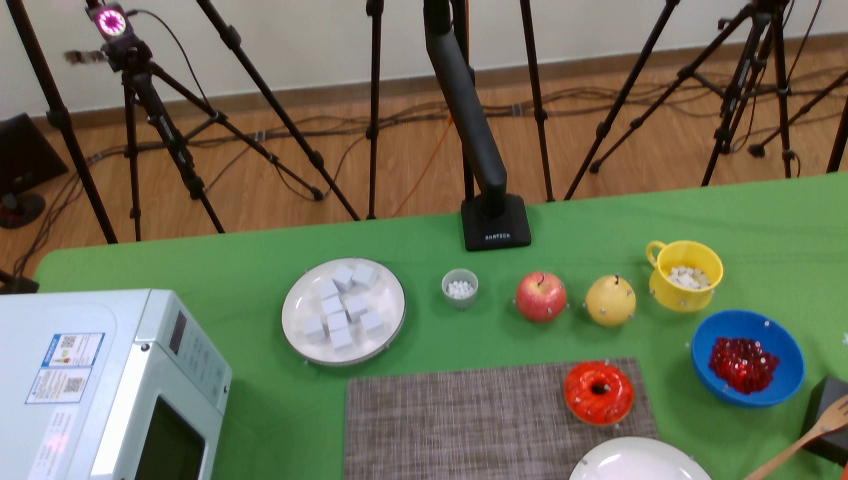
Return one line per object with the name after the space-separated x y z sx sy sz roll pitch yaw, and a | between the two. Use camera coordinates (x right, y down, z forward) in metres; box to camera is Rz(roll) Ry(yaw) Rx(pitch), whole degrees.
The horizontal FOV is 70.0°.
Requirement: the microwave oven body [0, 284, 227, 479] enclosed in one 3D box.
-0.473 0.308 0.755 0.326 0.262 0.437 -2 53 3 | microwave oven body

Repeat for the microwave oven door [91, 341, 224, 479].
-0.328 0.331 0.717 0.039 0.246 0.352 -3 52 4 | microwave oven door

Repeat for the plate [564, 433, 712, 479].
0.282 0.357 0.785 0.209 0.038 0.207 -2 52 3 | plate

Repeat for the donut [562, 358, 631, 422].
0.252 0.220 0.889 0.099 0.049 0.098 -4 53 6 | donut

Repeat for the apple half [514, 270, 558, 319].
0.178 0.084 0.988 0.081 0.075 0.053 -40 55 -19 | apple half

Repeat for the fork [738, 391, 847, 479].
0.494 0.270 0.805 0.207 0.019 0.028 -39 64 2 | fork

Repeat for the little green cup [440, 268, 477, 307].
0.060 0.083 1.022 0.061 0.039 0.061 -3 52 4 | little green cup

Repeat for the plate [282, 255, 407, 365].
-0.131 0.118 1.014 0.207 0.039 0.205 -3 52 4 | plate

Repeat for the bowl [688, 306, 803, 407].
0.456 0.181 0.883 0.151 0.077 0.150 -2 53 4 | bowl

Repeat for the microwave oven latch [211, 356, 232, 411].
-0.316 0.220 0.930 0.030 0.030 0.078 -1 53 4 | microwave oven latch

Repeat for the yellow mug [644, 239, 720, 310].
0.413 0.047 0.997 0.100 0.064 0.129 -32 56 -17 | yellow mug

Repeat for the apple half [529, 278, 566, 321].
0.204 0.104 0.969 0.081 0.082 0.032 -38 55 -22 | apple half

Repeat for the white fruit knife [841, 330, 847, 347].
0.612 0.211 0.821 0.027 0.016 0.205 16 48 -19 | white fruit knife

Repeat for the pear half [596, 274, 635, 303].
0.308 0.075 0.971 0.070 0.089 0.031 18 57 24 | pear half

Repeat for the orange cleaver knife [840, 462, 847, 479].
0.523 0.333 0.757 0.012 0.077 0.211 23 88 19 | orange cleaver knife

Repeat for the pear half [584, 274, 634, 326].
0.287 0.093 0.946 0.076 0.111 0.056 19 56 24 | pear half
